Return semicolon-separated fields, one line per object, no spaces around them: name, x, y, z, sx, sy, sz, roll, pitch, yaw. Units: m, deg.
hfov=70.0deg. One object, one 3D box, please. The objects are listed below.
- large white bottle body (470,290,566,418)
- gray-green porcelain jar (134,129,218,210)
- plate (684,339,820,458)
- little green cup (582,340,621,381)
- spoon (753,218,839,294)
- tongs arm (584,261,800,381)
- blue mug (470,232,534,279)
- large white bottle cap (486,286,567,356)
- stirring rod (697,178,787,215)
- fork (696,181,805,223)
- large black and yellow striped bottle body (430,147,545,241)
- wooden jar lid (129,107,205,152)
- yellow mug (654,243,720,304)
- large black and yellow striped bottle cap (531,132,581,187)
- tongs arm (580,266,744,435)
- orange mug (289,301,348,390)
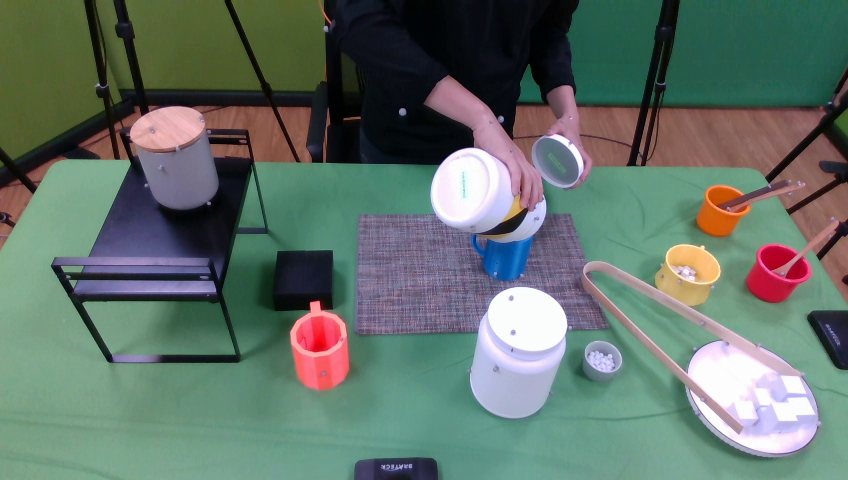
large white bottle body;0.143;0.173;0.930;0.131;0.185;0.130;2;47;-2
gray-green porcelain jar;-0.388;-0.120;0.960;0.106;0.127;0.105;2;46;-2
plate;0.523;0.256;0.982;0.208;0.039;0.206;2;46;-2
little green cup;0.295;0.204;1.015;0.061;0.039;0.061;2;45;-2
spoon;0.700;0.031;1.138;0.194;0.022;0.041;-47;55;14
tongs arm;0.452;0.137;1.063;0.051;0.027;0.382;-34;50;-27
blue mug;0.141;0.005;1.140;0.116;0.106;0.082;18;48;13
large white bottle cap;0.147;0.114;0.869;0.115;0.018;0.114;3;46;-3
stirring rod;0.650;-0.088;1.245;0.006;0.176;0.014;29;50;-39
fork;0.659;-0.077;1.232;0.207;0.019;0.028;-26;35;34
large black and yellow striped bottle body;0.112;-0.069;1.010;0.185;0.131;0.130;16;29;-50
wooden jar lid;-0.385;-0.163;0.915;0.108;0.021;0.107;2;47;-2
yellow mug;0.504;0.054;1.154;0.099;0.064;0.130;28;50;22
large black and yellow striped bottle cap;0.262;-0.159;1.205;0.019;0.115;0.114;-35;58;-26
tongs arm;0.384;0.172;1.028;0.028;0.028;0.385;-25;46;-15
orange mug;-0.170;0.162;0.976;0.083;0.101;0.125;-8;52;-11
